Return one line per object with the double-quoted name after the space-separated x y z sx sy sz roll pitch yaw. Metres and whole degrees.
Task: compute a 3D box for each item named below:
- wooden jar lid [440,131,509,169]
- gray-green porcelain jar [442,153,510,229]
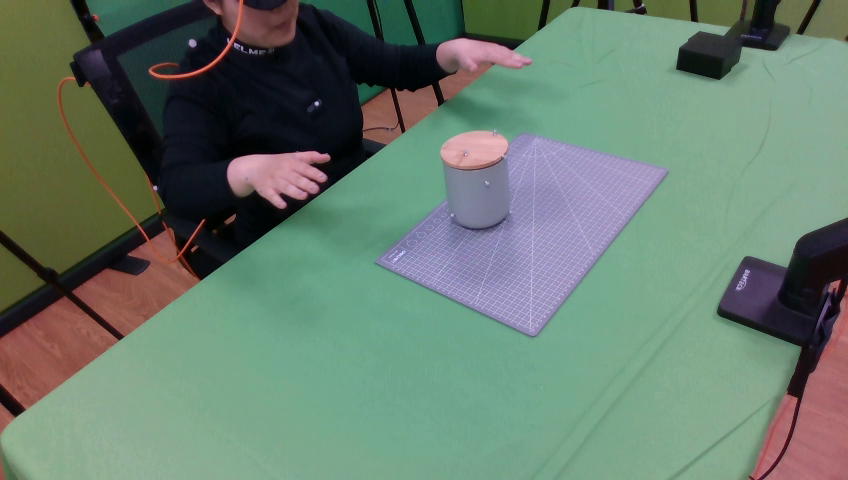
0.079 -0.137 0.948 0.108 0.021 0.108 -5 38 5 "wooden jar lid"
0.088 -0.091 0.988 0.106 0.127 0.105 -5 40 5 "gray-green porcelain jar"
